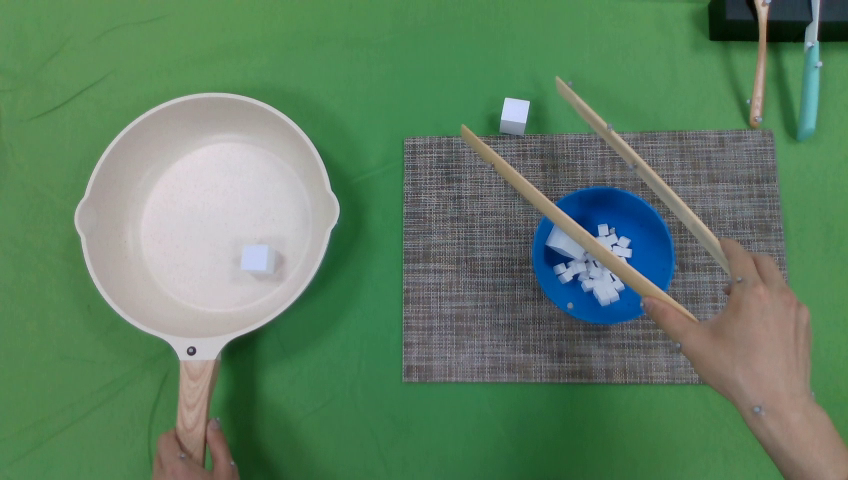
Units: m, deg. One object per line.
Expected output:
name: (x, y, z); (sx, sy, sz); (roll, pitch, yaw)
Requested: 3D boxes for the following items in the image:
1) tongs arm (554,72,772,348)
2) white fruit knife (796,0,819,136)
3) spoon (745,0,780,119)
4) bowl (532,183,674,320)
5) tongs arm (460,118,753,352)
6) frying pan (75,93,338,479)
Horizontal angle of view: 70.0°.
tongs arm: (0.210, -0.056, 0.605); (0.051, 0.027, 0.380); (-24, 50, -7)
white fruit knife: (0.454, -0.229, 0.712); (0.016, 0.027, 0.207); (0, 95, -1)
spoon: (0.398, -0.241, 0.711); (0.041, 0.022, 0.194); (11, 103, 27)
bowl: (0.193, 0.018, 0.682); (0.151, 0.077, 0.151); (0, 80, 3)
tongs arm: (0.148, -0.024, 0.596); (0.028, 0.028, 0.383); (-30, 50, -16)
frying pan: (-0.248, 0.072, 0.688); (0.307, 0.103, 0.484); (-1, 72, 4)
